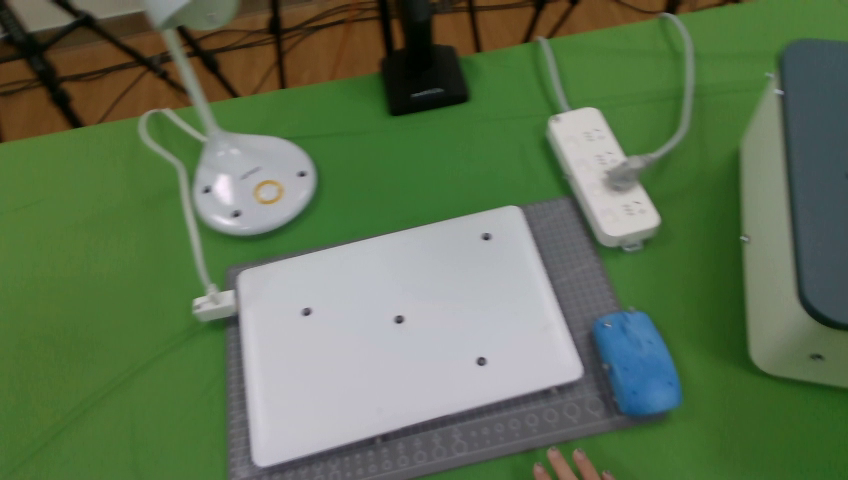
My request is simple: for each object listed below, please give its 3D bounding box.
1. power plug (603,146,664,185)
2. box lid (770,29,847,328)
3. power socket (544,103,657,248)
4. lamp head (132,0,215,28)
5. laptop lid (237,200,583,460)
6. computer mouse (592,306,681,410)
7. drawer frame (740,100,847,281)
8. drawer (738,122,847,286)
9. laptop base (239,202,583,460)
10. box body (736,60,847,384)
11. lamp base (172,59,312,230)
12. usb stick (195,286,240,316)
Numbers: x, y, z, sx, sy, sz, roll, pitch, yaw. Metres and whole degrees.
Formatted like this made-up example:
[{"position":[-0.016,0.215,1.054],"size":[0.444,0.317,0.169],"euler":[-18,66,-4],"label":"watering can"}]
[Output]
[{"position":[0.258,-0.085,0.746],"size":[0.072,0.053,0.035],"euler":[-5,56,0],"label":"power plug"},{"position":[0.484,-0.070,0.582],"size":[0.263,0.015,0.368],"euler":[8,60,10],"label":"box lid"},{"position":[0.222,-0.091,0.780],"size":[0.072,0.033,0.224],"euler":[-14,58,-6],"label":"power socket"},{"position":[-0.214,-0.252,0.495],"size":[0.112,0.112,0.123],"euler":[-40,107,-19],"label":"lamp head"},{"position":[-0.026,0.087,0.681],"size":[0.357,0.013,0.239],"euler":[-13,60,-4],"label":"laptop lid"},{"position":[0.224,0.120,0.641],"size":[0.063,0.041,0.116],"euler":[-10,54,0],"label":"computer mouse"},{"position":[0.488,-0.055,0.699],"size":[0.201,0.083,0.212],"euler":[9,52,8],"label":"drawer frame"},{"position":[0.491,-0.044,0.711],"size":[0.194,0.074,0.210],"euler":[6,49,11],"label":"drawer"},{"position":[-0.026,0.091,0.692],"size":[0.355,0.023,0.233],"euler":[-14,61,-5],"label":"laptop base"},{"position":[0.489,-0.029,0.644],"size":[0.253,0.162,0.361],"euler":[8,59,9],"label":"box body"},{"position":[-0.245,-0.127,0.750],"size":[0.178,0.182,0.160],"euler":[31,65,24],"label":"lamp base"},{"position":[-0.233,0.070,0.705],"size":[0.059,0.027,0.021],"euler":[-9,52,-5],"label":"usb stick"}]
